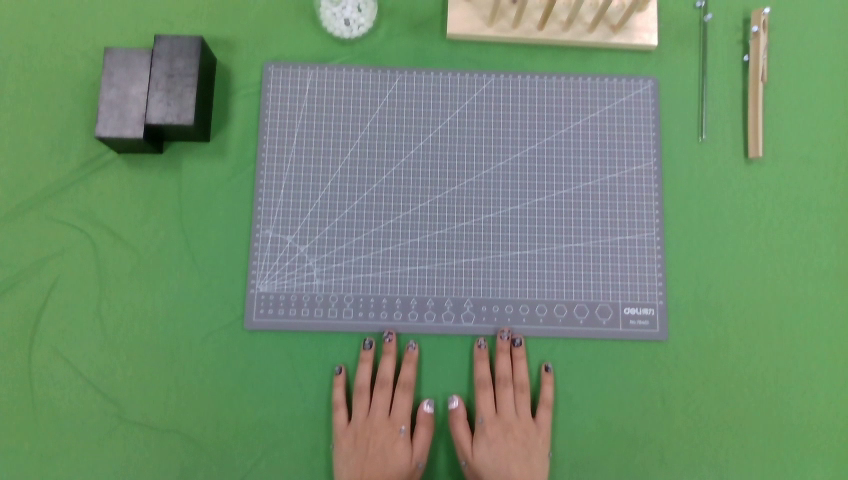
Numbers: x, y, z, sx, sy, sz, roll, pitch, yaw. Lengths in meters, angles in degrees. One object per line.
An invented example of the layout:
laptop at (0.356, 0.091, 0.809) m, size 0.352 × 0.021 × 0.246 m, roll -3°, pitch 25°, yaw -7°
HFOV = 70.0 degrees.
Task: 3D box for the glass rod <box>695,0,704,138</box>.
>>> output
glass rod at (0.321, -0.214, 0.705) m, size 0.008 × 0.008 × 0.199 m, roll 6°, pitch 80°, yaw -1°

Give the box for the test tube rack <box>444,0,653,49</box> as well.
test tube rack at (0.146, -0.269, 0.670) m, size 0.242 × 0.085 × 0.066 m, roll 3°, pitch 80°, yaw -1°

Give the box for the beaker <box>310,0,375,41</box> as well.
beaker at (-0.090, -0.268, 0.656) m, size 0.074 × 0.100 × 0.083 m, roll 4°, pitch 80°, yaw -1°

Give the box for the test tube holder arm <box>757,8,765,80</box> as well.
test tube holder arm at (0.388, -0.227, 0.705) m, size 0.010 × 0.015 × 0.087 m, roll 14°, pitch 79°, yaw -29°

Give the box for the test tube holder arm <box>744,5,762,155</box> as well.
test tube holder arm at (0.377, -0.184, 0.694) m, size 0.013 × 0.015 × 0.178 m, roll 13°, pitch 79°, yaw -29°
